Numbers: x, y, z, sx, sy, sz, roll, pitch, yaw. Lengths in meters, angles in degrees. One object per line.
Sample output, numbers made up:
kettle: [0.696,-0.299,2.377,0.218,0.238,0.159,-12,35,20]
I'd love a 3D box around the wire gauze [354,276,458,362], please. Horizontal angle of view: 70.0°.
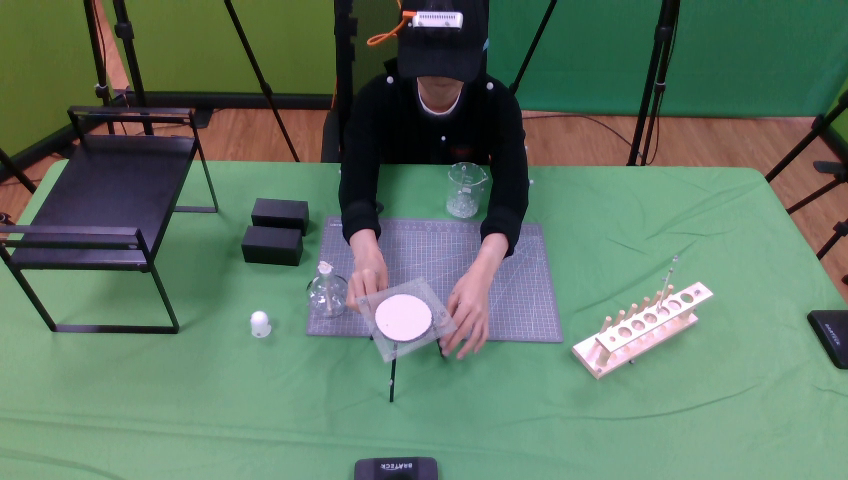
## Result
wire gauze: [-0.029,0.113,0.912,0.121,0.011,0.124,-18,49,-19]

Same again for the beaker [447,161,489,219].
beaker: [0.087,-0.100,1.244,0.084,0.101,0.073,5,46,1]

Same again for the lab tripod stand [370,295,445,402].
lab tripod stand: [-0.036,0.160,0.959,0.148,0.132,0.147,1,46,0]

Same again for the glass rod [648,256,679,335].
glass rod: [0.390,0.095,0.990,0.008,0.201,0.008,-2,46,3]

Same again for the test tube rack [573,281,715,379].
test tube rack: [0.378,0.140,1.038,0.242,0.085,0.066,-22,51,-22]

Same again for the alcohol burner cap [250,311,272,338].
alcohol burner cap: [-0.278,0.141,1.025,0.034,0.048,0.033,1,47,-1]

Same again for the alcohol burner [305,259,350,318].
alcohol burner: [-0.166,0.078,1.040,0.078,0.120,0.077,1,44,-1]
